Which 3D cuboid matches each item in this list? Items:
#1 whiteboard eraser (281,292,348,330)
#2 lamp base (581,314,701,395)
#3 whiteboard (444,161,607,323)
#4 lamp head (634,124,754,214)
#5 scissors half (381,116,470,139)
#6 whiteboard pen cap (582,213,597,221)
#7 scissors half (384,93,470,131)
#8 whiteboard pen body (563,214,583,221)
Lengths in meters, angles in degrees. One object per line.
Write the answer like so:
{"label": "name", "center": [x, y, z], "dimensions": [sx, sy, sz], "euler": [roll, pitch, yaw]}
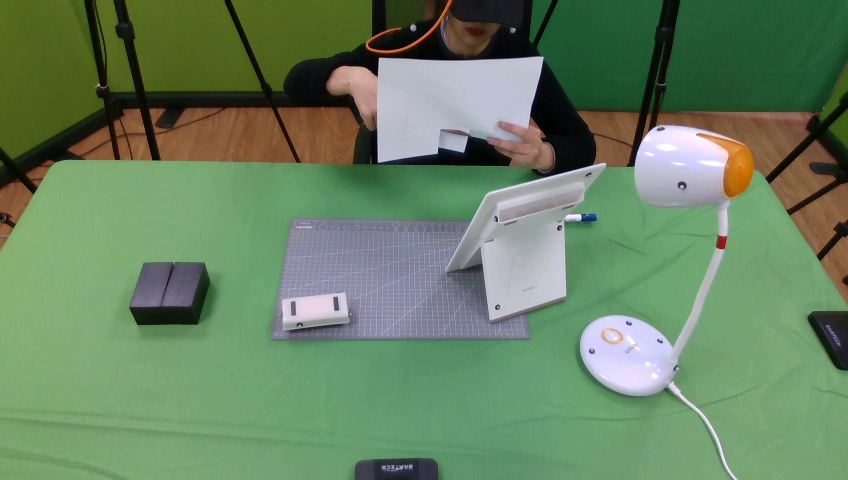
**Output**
{"label": "whiteboard eraser", "center": [-0.189, 0.124, 1.045], "dimensions": [0.113, 0.042, 0.055], "euler": [-6, 46, -10]}
{"label": "lamp base", "center": [0.361, 0.145, 0.972], "dimensions": [0.178, 0.181, 0.160], "euler": [34, 53, 23]}
{"label": "whiteboard", "center": [0.186, 0.025, 1.029], "dimensions": [0.217, 0.306, 0.143], "euler": [-14, 68, -18]}
{"label": "lamp head", "center": [0.351, -0.089, 0.775], "dimensions": [0.112, 0.113, 0.122], "euler": [-30, 30, -28]}
{"label": "scissors half", "center": [0.004, -0.219, 1.163], "dimensions": [0.175, 0.040, 0.013], "euler": [-7, 6, -10]}
{"label": "whiteboard pen cap", "center": [0.342, -0.048, 1.260], "dimensions": [0.033, 0.018, 0.018], "euler": [-3, 46, -3]}
{"label": "scissors half", "center": [0.007, -0.241, 1.163], "dimensions": [0.175, 0.013, 0.040], "euler": [21, 86, -10]}
{"label": "whiteboard pen body", "center": [0.283, -0.047, 1.257], "dimensions": [0.141, 0.017, 0.017], "euler": [-1, 46, -2]}
